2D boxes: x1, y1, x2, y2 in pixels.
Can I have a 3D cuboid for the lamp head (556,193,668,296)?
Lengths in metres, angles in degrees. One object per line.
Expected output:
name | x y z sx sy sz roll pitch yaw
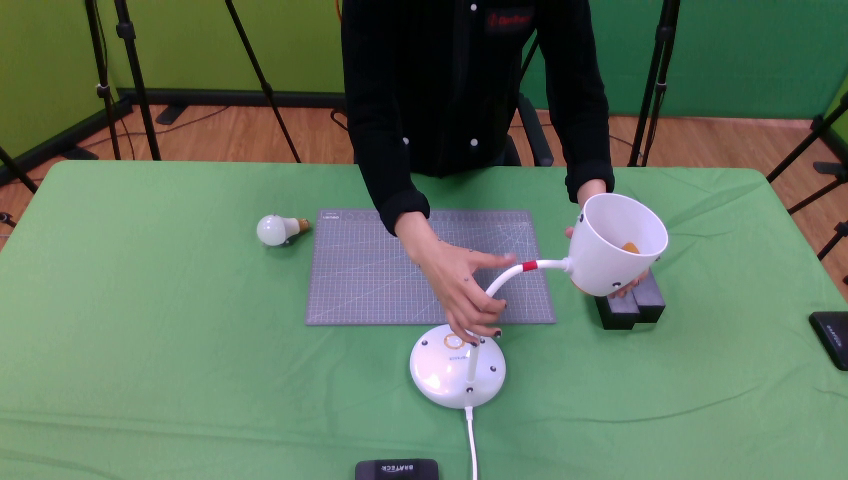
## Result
lamp head | 0.236 0.017 0.793 0.113 0.123 0.111 14 43 -13

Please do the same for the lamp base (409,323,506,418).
lamp base | 0.063 0.161 0.940 0.161 0.181 0.178 -10 51 -13

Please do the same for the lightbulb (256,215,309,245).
lightbulb | -0.274 -0.024 1.183 0.108 0.060 0.059 -13 46 -37
